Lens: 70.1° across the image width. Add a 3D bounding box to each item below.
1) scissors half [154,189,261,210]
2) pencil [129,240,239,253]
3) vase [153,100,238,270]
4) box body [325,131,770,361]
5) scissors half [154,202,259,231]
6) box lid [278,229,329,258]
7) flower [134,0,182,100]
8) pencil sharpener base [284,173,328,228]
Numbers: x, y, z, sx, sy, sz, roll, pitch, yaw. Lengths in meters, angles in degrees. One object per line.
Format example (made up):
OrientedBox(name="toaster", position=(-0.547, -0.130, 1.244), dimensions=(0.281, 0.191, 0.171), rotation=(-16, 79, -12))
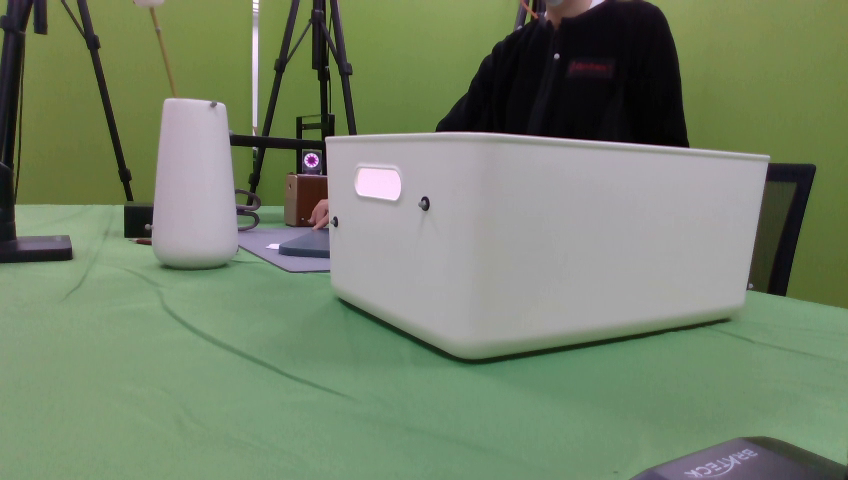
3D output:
OrientedBox(name="scissors half", position=(-0.373, -0.066, 1.049), dimensions=(0.176, 0.040, 0.012), rotation=(-6, 12, -27))
OrientedBox(name="pencil", position=(-0.350, 0.008, 0.874), dimensions=(0.193, 0.012, 0.012), rotation=(4, 8, 19))
OrientedBox(name="vase", position=(-0.278, -0.066, 0.736), dimensions=(0.098, 0.200, 0.098), rotation=(2, 9, 0))
OrientedBox(name="box body", position=(0.112, -0.010, 0.583), dimensions=(0.366, 0.160, 0.253), rotation=(-2, 9, -33))
OrientedBox(name="scissors half", position=(-0.375, -0.046, 1.051), dimensions=(0.176, 0.040, 0.013), rotation=(13, -2, -28))
OrientedBox(name="box lid", position=(-0.019, 0.012, 0.950), dimensions=(0.371, 0.015, 0.263), rotation=(4, 7, 4))
OrientedBox(name="flower", position=(-0.282, -0.146, 0.712), dimensions=(0.038, 0.362, 0.044), rotation=(-23, 24, -31))
OrientedBox(name="pencil sharpener base", position=(-0.239, -0.081, 1.231), dimensions=(0.077, 0.107, 0.061), rotation=(-2, 8, -36))
